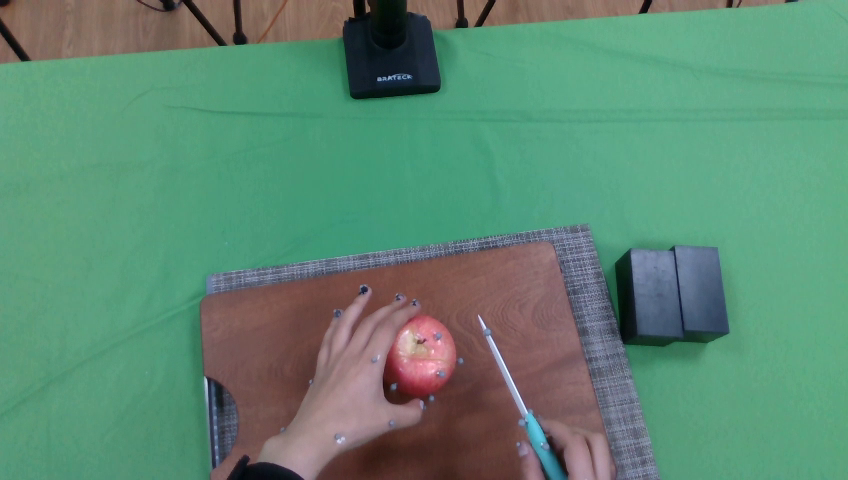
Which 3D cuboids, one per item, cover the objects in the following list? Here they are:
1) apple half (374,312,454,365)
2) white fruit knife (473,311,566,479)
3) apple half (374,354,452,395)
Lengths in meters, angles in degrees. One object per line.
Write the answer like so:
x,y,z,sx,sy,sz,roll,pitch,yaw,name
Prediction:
-0.009,0.102,0.618,0.081,0.075,0.053,3,65,2,apple half
0.087,0.154,0.523,0.016,0.027,0.207,-27,94,-12,white fruit knife
-0.012,0.138,0.602,0.081,0.082,0.032,4,65,-3,apple half
